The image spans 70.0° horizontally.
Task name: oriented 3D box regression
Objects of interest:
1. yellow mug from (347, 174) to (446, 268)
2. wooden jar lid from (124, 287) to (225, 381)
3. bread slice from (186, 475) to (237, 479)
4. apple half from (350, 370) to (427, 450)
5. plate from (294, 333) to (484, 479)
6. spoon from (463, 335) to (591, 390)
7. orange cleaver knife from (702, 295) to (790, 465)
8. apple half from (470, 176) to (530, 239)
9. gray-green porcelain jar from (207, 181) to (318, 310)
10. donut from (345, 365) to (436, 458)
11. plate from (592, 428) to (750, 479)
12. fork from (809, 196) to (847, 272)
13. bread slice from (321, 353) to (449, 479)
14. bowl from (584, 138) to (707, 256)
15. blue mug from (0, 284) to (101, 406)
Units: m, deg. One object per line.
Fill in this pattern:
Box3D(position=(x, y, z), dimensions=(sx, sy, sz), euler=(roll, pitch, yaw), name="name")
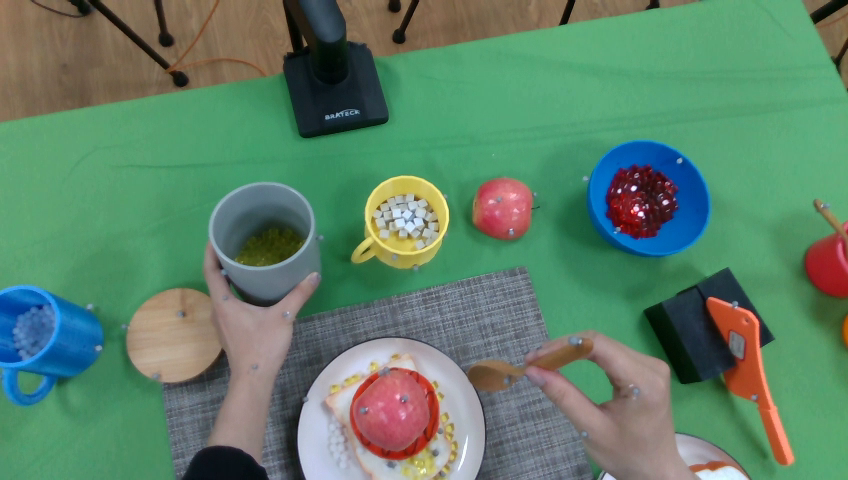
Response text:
Box3D(position=(-0.038, -0.013, 0.732), dimensions=(0.131, 0.064, 0.099), euler=(-36, 80, -14), name="yellow mug")
Box3D(position=(-0.282, 0.108, 0.690), dimensions=(0.108, 0.021, 0.107), euler=(2, 70, -4), name="wooden jar lid")
Box3D(position=(-0.234, 0.316, 0.634), dimensions=(0.105, 0.019, 0.131), euler=(-5, 75, -9), name="bread slice")
Box3D(position=(-0.035, 0.174, 0.619), dimensions=(0.081, 0.033, 0.081), euler=(0, 73, 1), name="apple half")
Box3D(position=(-0.039, 0.209, 0.676), dimensions=(0.208, 0.039, 0.206), euler=(2, 74, -5), name="plate")
Box3D(position=(0.075, 0.097, 0.462), dimensions=(0.042, 0.194, 0.021), euler=(24, 68, -8), name="spoon")
Box3D(position=(0.378, 0.164, 0.715), dimensions=(0.012, 0.077, 0.212), euler=(-23, 99, -19), name="orange cleaver knife")
Box3D(position=(0.098, -0.047, 0.763), dimensions=(0.075, 0.053, 0.080), euler=(9, 73, -1), name="apple half")
Box3D(position=(-0.173, 0.013, 0.672), dimensions=(0.106, 0.127, 0.105), euler=(3, 62, -5), name="gray-green porcelain jar")
Box3D(position=(-0.035, 0.185, 0.654), dimensions=(0.099, 0.048, 0.098), euler=(2, 73, -6), name="donut")
Box3D(position=(0.278, 0.320, 0.680), dimensions=(0.209, 0.038, 0.208), euler=(2, 73, -5), name="plate")
Box3D(position=(0.508, -0.003, 0.744), dimensions=(0.209, 0.018, 0.028), euler=(33, 66, -40), name="fork")
Box3D(position=(-0.035, 0.208, 0.681), dimensions=(0.107, 0.018, 0.133), euler=(-30, 76, -15), name="bread slice")
Box3D(position=(0.266, -0.044, 0.767), dimensions=(0.151, 0.077, 0.150), euler=(2, 74, -5), name="bowl")
Box3D(position=(-0.406, 0.114, 0.633), dimensions=(0.082, 0.106, 0.116), euler=(7, 72, -4), name="blue mug")
